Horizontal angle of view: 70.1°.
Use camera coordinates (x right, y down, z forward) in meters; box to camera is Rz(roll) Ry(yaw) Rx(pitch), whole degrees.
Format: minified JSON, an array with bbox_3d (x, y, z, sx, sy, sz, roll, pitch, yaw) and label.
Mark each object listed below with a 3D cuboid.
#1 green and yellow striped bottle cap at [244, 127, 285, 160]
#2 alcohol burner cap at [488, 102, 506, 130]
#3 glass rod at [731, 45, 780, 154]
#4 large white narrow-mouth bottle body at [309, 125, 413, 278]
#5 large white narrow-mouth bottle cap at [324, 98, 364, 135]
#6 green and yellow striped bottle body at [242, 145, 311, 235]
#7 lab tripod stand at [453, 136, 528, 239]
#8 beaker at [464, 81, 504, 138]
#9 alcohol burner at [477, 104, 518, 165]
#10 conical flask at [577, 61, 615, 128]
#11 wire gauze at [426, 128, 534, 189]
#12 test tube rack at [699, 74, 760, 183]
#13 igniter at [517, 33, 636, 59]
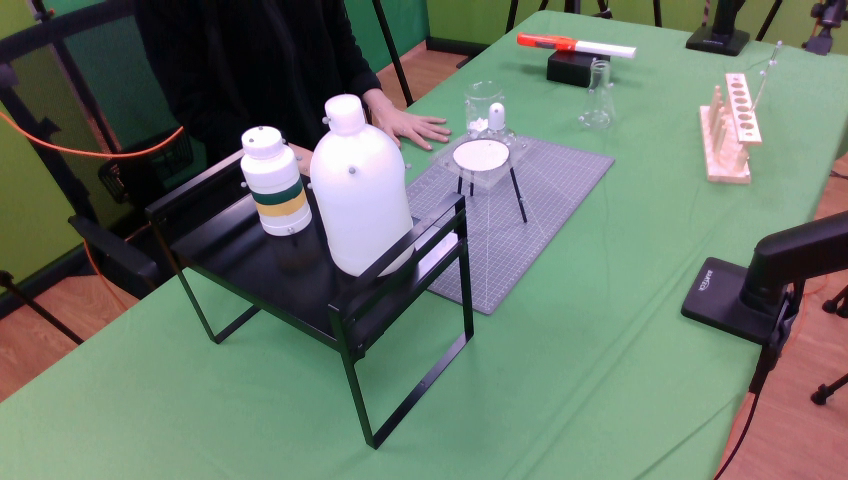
[{"bbox_3d":[-0.183,-0.111,0.694,0.045,0.020,0.045,-1,42,1],"label":"green and yellow striped bottle cap"},{"bbox_3d":[0.133,-0.227,1.092,0.034,0.048,0.033,-1,47,2],"label":"alcohol burner cap"},{"bbox_3d":[0.556,-0.232,1.018,0.008,0.200,0.008,2,41,-1],"label":"glass rod"},{"bbox_3d":[-0.068,-0.057,0.644,0.102,0.195,0.101,-4,42,4],"label":"large white narrow-mouth bottle body"},{"bbox_3d":[-0.076,-0.120,0.585,0.038,0.024,0.037,-3,42,3],"label":"large white narrow-mouth bottle cap"},{"bbox_3d":[-0.179,-0.069,0.730,0.063,0.120,0.063,-4,41,4],"label":"green and yellow striped bottle body"},{"bbox_3d":[0.095,-0.086,0.974,0.148,0.132,0.147,-4,43,4],"label":"lab tripod stand"},{"bbox_3d":[0.118,-0.254,1.193,0.074,0.101,0.083,-19,41,-14],"label":"beaker"},{"bbox_3d":[0.135,-0.200,1.117,0.078,0.119,0.077,-4,43,4],"label":"alcohol burner"},{"bbox_3d":[0.343,-0.288,1.188,0.075,0.122,0.075,-4,41,4],"label":"conical flask"},{"bbox_3d":[0.086,-0.131,0.924,0.124,0.011,0.122,26,52,33],"label":"wire gauze"},{"bbox_3d":[0.547,-0.208,1.095,0.066,0.085,0.242,6,42,16],"label":"test tube rack"},{"bbox_3d":[0.336,-0.441,1.369,0.275,0.025,0.057,16,41,23],"label":"igniter"}]
